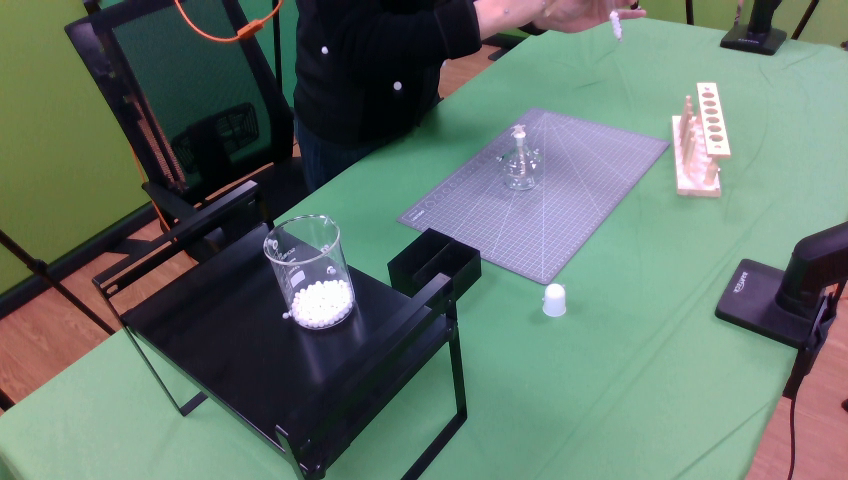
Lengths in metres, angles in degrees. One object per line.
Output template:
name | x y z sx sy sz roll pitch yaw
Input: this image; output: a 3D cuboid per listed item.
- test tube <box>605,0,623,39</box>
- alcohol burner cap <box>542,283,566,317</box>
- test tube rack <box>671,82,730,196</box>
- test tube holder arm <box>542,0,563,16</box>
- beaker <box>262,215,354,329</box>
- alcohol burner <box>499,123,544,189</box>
test tube | 0.289 -0.384 0.948 0.017 0.151 0.017 -19 37 15
alcohol burner cap | 0.182 0.081 0.839 0.034 0.048 0.033 -4 41 4
test tube rack | 0.482 -0.184 1.067 0.066 0.085 0.242 6 42 14
test tube holder arm | 0.225 -0.384 0.881 0.013 0.015 0.178 21 62 40
beaker | -0.112 0.034 0.616 0.073 0.101 0.084 13 44 22
alcohol burner | 0.169 -0.149 1.048 0.078 0.119 0.077 -6 41 5
